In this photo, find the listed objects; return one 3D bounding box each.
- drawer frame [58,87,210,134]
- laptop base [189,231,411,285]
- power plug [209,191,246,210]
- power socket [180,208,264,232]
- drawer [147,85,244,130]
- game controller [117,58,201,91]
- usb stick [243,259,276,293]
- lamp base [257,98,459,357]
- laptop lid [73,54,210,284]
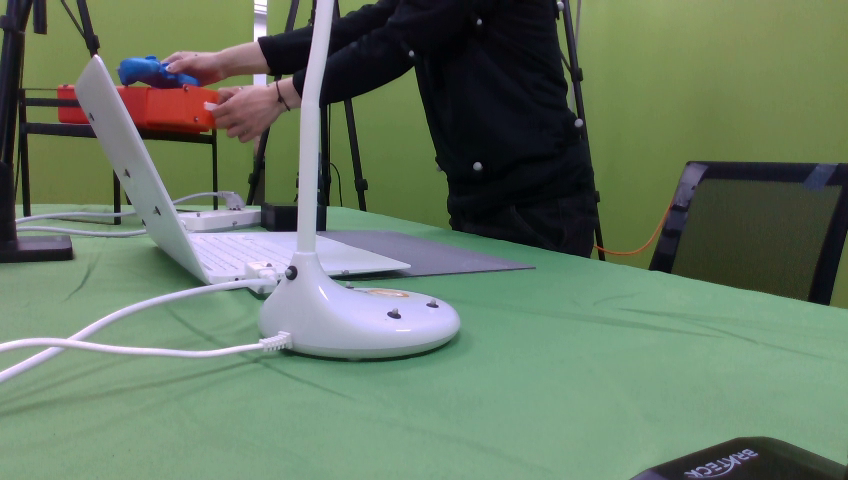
[{"bbox_3d":[-0.594,-0.268,1.260,0.213,0.082,0.202,4,8,14],"label":"drawer frame"},{"bbox_3d":[-0.204,0.019,0.807,0.237,0.023,0.352,0,7,-33],"label":"laptop base"},{"bbox_3d":[-0.388,-0.071,1.204,0.072,0.052,0.035,4,8,26],"label":"power plug"},{"bbox_3d":[-0.381,-0.038,1.128,0.072,0.032,0.227,4,8,16],"label":"power socket"},{"bbox_3d":[-0.510,-0.265,1.238,0.211,0.073,0.195,1,8,16],"label":"drawer"},{"bbox_3d":[-0.525,-0.322,1.193,0.097,0.051,0.155,-13,-3,14],"label":"game controller"},{"bbox_3d":[-0.166,0.035,0.604,0.021,0.027,0.059,-8,8,-29],"label":"usb stick"},{"bbox_3d":[-0.055,-0.014,0.463,0.160,0.180,0.180,6,11,27],"label":"lamp base"},{"bbox_3d":[-0.341,-0.079,0.704,0.013,0.242,0.355,-30,23,-26],"label":"laptop lid"}]
